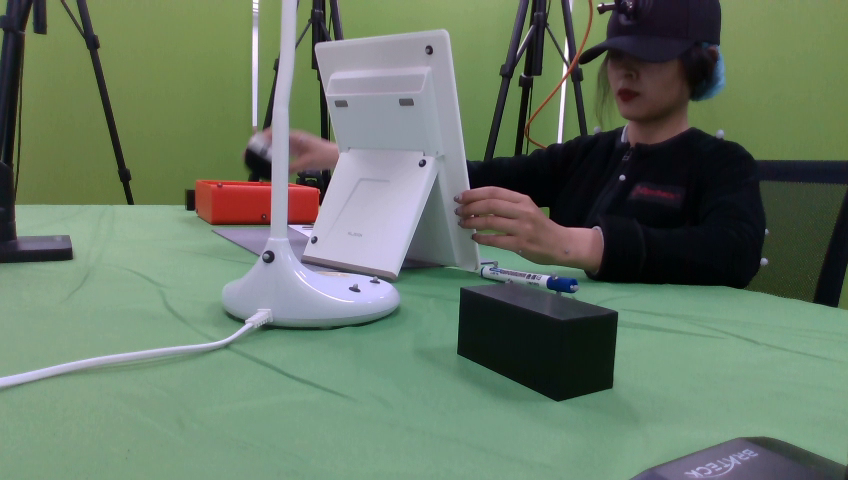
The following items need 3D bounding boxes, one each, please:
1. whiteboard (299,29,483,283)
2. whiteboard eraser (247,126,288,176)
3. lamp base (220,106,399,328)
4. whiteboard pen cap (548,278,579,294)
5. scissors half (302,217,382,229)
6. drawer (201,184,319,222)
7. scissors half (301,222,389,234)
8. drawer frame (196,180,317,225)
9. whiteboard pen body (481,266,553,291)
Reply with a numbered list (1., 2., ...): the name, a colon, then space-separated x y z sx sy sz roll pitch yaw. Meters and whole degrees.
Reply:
1. whiteboard: -0.074 -0.082 0.742 0.216 0.305 0.144 9 29 38
2. whiteboard eraser: -0.253 -0.137 0.969 0.056 0.042 0.112 34 -20 -10
3. lamp base: -0.101 -0.023 0.531 0.160 0.180 0.179 4 10 10
4. whiteboard pen cap: 0.148 0.049 0.647 0.018 0.018 0.033 -3 3 -36
5. scissors half: -0.161 -0.031 1.198 0.176 0.013 0.040 -8 22 -39
6. drawer: -0.353 -0.082 1.296 0.213 0.073 0.193 -2 10 -28
7. scissors half: -0.151 -0.023 1.181 0.176 0.013 0.040 0 23 -21
8. drawer frame: -0.359 -0.083 1.292 0.215 0.082 0.200 -2 10 -30
9. whiteboard pen body: 0.115 0.045 0.695 0.017 0.017 0.140 -3 6 -35
